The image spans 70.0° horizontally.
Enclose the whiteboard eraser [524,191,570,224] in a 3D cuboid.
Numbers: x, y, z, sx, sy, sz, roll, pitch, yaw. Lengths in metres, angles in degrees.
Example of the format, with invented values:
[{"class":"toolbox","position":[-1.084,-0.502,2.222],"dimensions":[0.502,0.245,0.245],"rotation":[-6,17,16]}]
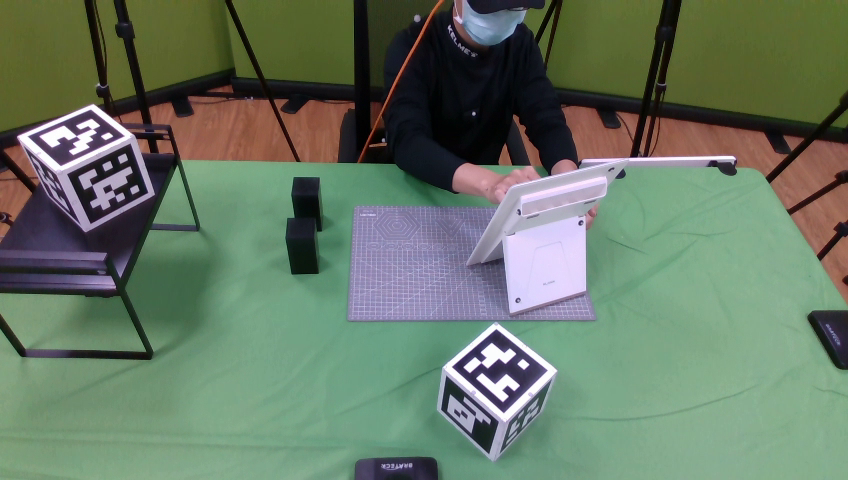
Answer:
[{"class":"whiteboard eraser","position":[0.218,-0.059,1.077],"dimensions":[0.041,0.101,0.019],"rotation":[-14,75,-40]}]

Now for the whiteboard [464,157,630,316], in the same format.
[{"class":"whiteboard","position":[0.224,0.015,1.041],"dimensions":[0.217,0.306,0.143],"rotation":[-14,68,-17]}]
